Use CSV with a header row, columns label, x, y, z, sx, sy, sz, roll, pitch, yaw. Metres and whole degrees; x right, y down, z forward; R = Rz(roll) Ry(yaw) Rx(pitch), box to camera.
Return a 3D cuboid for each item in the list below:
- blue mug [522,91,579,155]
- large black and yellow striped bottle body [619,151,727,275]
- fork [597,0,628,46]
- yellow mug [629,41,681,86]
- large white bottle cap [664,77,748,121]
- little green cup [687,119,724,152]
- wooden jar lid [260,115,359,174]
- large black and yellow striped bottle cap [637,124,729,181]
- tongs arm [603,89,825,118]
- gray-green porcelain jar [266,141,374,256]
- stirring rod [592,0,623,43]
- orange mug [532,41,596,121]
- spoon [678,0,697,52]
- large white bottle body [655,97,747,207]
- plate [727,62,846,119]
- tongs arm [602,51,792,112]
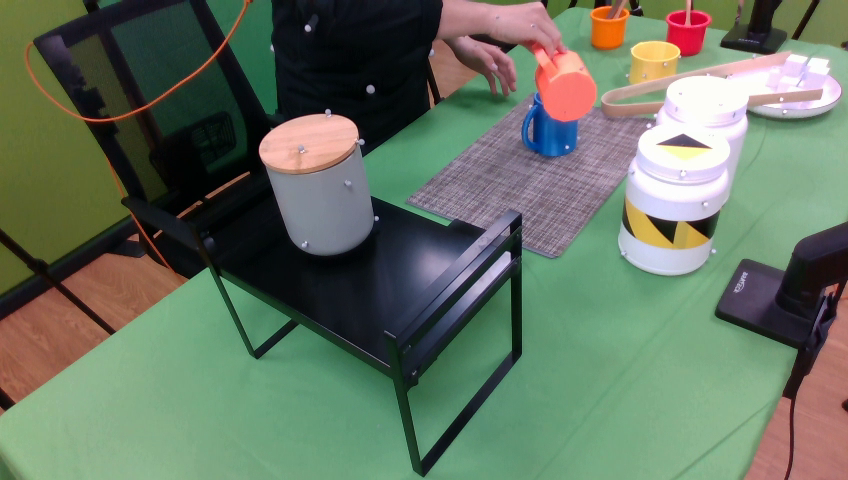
label,x,y,z,sx,sy,sz,roll,pitch,yaw
blue mug,0.233,-0.218,1.127,0.117,0.106,0.081,-23,43,-16
large black and yellow striped bottle body,0.354,-0.056,0.865,0.131,0.185,0.130,-4,41,4
fork,0.479,-0.558,1.455,0.028,0.019,0.207,35,100,38
yellow mug,0.495,-0.389,1.321,0.100,0.064,0.130,-14,40,-6
large white bottle cap,0.421,-0.212,0.905,0.115,0.018,0.114,-4,40,4
little green cup,0.513,-0.191,1.109,0.061,0.039,0.061,-5,40,5
wooden jar lid,-0.124,-0.101,0.662,0.108,0.021,0.108,-4,41,4
large black and yellow striped bottle cap,0.346,-0.119,0.810,0.115,0.019,0.114,-5,41,5
tongs arm,0.546,-0.262,1.163,0.386,0.028,0.028,-1,49,18
gray-green porcelain jar,-0.117,-0.054,0.703,0.106,0.127,0.105,-4,40,4
stirring rod,0.460,-0.557,1.461,0.014,0.176,0.006,35,11,22
orange mug,0.225,-0.273,1.011,0.083,0.127,0.100,-34,27,23
spoon,0.614,-0.526,1.402,0.041,0.022,0.193,3,86,11
large white bottle body,0.431,-0.148,0.959,0.130,0.185,0.130,-4,41,4
plate,0.709,-0.292,1.197,0.207,0.039,0.206,-4,40,4
tongs arm,0.552,-0.320,1.224,0.384,0.027,0.050,-10,43,7
